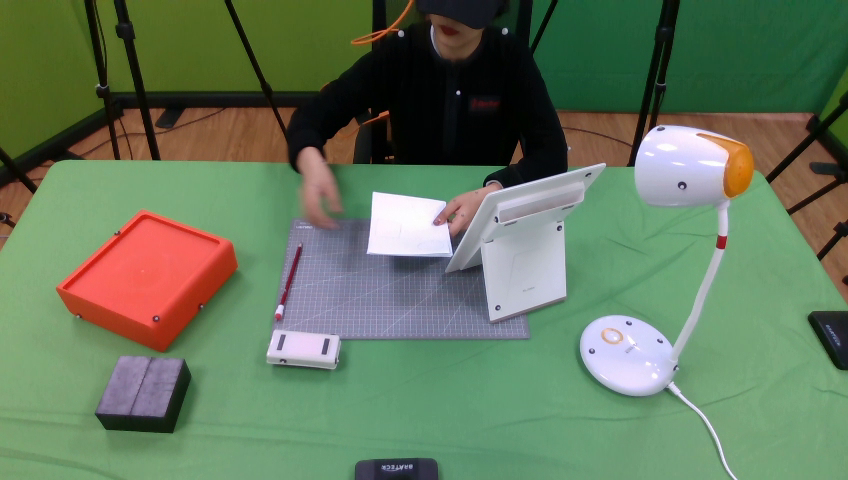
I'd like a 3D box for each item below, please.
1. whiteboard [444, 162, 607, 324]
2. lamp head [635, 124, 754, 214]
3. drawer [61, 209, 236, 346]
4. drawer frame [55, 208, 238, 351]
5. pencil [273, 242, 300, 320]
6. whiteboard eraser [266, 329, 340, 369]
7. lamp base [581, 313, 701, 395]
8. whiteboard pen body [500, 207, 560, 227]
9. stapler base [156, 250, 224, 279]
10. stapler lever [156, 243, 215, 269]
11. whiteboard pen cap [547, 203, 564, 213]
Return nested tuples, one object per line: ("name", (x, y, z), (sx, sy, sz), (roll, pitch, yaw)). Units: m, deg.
("whiteboard", (0.186, 0.025, 1.029), (0.217, 0.306, 0.143), (-15, 68, -18))
("lamp head", (0.351, -0.089, 0.775), (0.112, 0.113, 0.122), (-30, 30, -28))
("drawer", (-0.474, 0.061, 1.063), (0.194, 0.073, 0.211), (19, 49, 13))
("drawer frame", (-0.474, 0.062, 1.059), (0.201, 0.083, 0.213), (18, 48, 12))
("pencil", (-0.249, 0.071, 1.115), (0.012, 0.012, 0.193), (5, 43, 1))
("whiteboard eraser", (-0.198, 0.181, 0.994), (0.113, 0.042, 0.055), (5, 45, 1))
("lamp base", (0.361, 0.144, 0.973), (0.178, 0.181, 0.160), (34, 53, 23))
("whiteboard pen body", (0.222, -0.051, 1.260), (0.141, 0.017, 0.017), (-15, 49, -16))
("stapler base", (-0.431, 0.040, 1.110), (0.130, 0.024, 0.041), (11, 38, 17))
("stapler lever", (-0.433, 0.023, 1.097), (0.118, 0.040, 0.026), (14, 39, 14))
("whiteboard pen cap", (0.277, -0.066, 1.275), (0.033, 0.018, 0.018), (-18, 50, -15))
